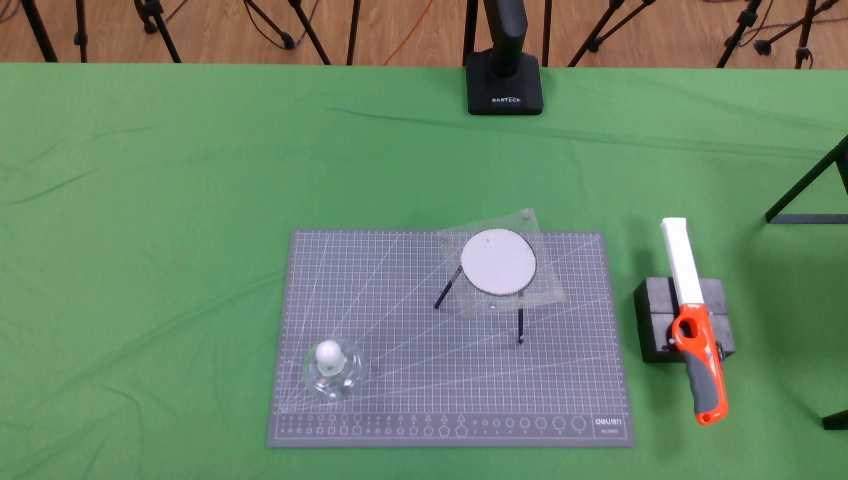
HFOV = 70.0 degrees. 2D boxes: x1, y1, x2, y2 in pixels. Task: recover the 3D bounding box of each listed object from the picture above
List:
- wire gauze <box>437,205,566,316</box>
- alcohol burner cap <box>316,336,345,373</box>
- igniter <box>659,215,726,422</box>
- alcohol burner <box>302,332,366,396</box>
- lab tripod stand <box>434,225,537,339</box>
[{"bbox_3d":[0.088,0.023,0.703,0.125,0.011,0.120,-11,65,-7],"label":"wire gauze"},{"bbox_3d":[-0.109,0.128,0.690,0.034,0.048,0.033,1,59,-1],"label":"alcohol burner cap"},{"bbox_3d":[0.337,0.090,0.766,0.057,0.025,0.274,1,62,1],"label":"igniter"},{"bbox_3d":[-0.109,0.144,0.723,0.078,0.120,0.077,1,65,-3],"label":"alcohol burner"},{"bbox_3d":[0.087,0.046,0.767,0.148,0.132,0.147,0,62,0],"label":"lab tripod stand"}]
